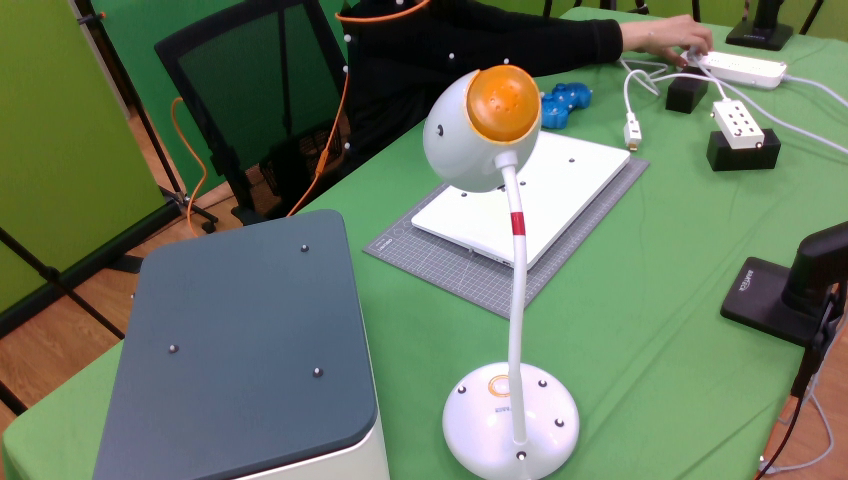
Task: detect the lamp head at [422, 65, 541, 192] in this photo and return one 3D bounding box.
[{"bbox_3d":[0.060,-0.106,0.560,0.113,0.112,0.122,-16,0,-8],"label":"lamp head"}]

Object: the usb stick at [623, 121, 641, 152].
[{"bbox_3d":[0.389,-0.191,1.129,0.021,0.027,0.059,6,62,-6],"label":"usb stick"}]

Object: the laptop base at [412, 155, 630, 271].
[{"bbox_3d":[0.176,-0.085,1.056,0.233,0.023,0.355,20,48,36],"label":"laptop base"}]

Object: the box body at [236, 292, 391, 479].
[{"bbox_3d":[-0.190,0.161,0.723,0.255,0.161,0.361,-13,40,-5],"label":"box body"}]

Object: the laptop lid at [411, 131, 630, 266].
[{"bbox_3d":[0.172,-0.094,1.050,0.239,0.013,0.358,23,49,36],"label":"laptop lid"}]

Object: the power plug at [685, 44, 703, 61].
[{"bbox_3d":[0.568,-0.390,1.294,0.073,0.053,0.035,-33,46,-22],"label":"power plug"}]

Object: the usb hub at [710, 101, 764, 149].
[{"bbox_3d":[0.536,-0.200,1.041,0.049,0.025,0.124,-4,39,8],"label":"usb hub"}]

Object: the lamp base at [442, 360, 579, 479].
[{"bbox_3d":[0.094,0.158,0.657,0.161,0.181,0.178,-13,42,-5],"label":"lamp base"}]

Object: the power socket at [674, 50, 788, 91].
[{"bbox_3d":[0.647,-0.364,1.284,0.225,0.033,0.072,26,52,34],"label":"power socket"}]

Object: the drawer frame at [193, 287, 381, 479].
[{"bbox_3d":[-0.172,0.176,0.755,0.202,0.083,0.212,-14,42,-7],"label":"drawer frame"}]

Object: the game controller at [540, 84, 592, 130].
[{"bbox_3d":[0.277,-0.283,1.251,0.096,0.052,0.155,28,53,30],"label":"game controller"}]

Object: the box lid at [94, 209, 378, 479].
[{"bbox_3d":[-0.202,0.094,0.680,0.264,0.015,0.368,-13,39,-5],"label":"box lid"}]
